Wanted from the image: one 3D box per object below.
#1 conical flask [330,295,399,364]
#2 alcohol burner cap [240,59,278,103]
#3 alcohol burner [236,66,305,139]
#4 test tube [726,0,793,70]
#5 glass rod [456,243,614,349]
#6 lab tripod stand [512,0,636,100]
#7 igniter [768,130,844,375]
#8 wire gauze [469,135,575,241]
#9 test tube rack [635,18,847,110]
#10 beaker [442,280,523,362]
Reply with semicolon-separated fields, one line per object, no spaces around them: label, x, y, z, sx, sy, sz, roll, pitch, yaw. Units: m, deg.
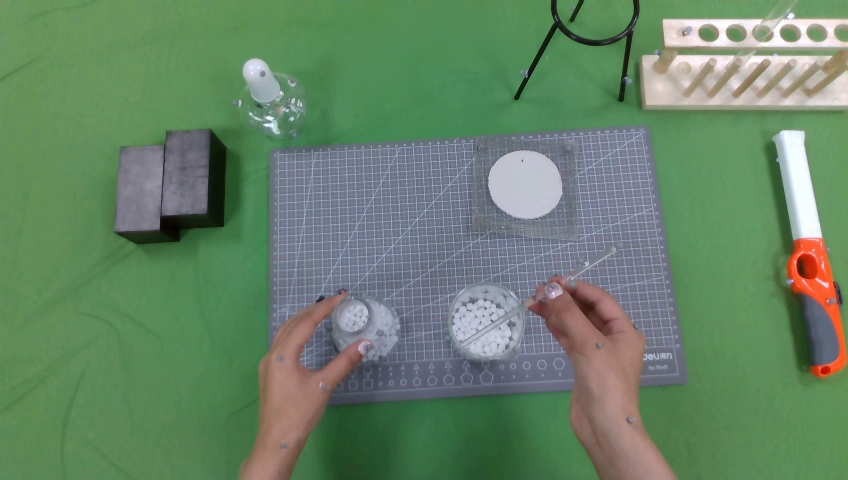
conical flask;-0.066;0.084;0.609;0.075;0.122;0.075;0;76;1
alcohol burner cap;-0.177;-0.172;0.645;0.034;0.048;0.033;0;70;1
alcohol burner;-0.176;-0.161;0.679;0.078;0.119;0.077;-1;77;3
test tube;0.359;-0.225;0.648;0.017;0.151;0.017;-1;75;4
glass rod;0.090;0.055;0.538;0.008;0.200;0.008;24;45;-27
lab tripod stand;0.170;-0.221;0.677;0.148;0.132;0.147;0;78;2
igniter;0.421;0.008;0.671;0.057;0.025;0.275;0;76;-9
wire gauze;0.115;-0.063;0.701;0.125;0.011;0.121;5;76;0
test tube rack;0.378;-0.199;0.692;0.242;0.085;0.066;0;75;1
beaker;0.060;0.088;0.617;0.074;0.101;0.083;-39;78;-8
